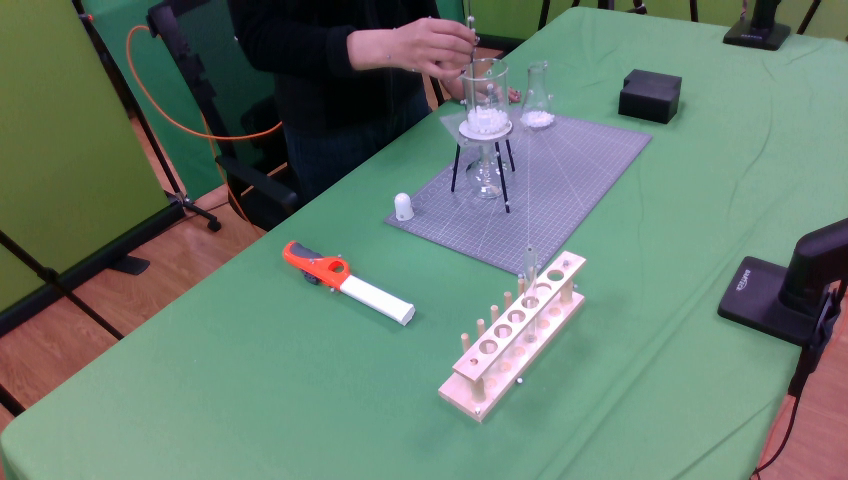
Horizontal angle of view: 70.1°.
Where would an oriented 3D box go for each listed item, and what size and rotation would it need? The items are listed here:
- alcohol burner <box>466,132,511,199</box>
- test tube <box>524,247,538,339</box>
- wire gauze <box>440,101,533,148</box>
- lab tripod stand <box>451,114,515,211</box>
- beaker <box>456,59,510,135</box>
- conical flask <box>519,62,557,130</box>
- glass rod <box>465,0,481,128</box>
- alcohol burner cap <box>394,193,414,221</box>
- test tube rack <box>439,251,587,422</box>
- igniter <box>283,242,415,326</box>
[{"bbox_3d":[0.110,-0.132,1.044,0.078,0.119,0.077,-6,38,5],"label":"alcohol burner"},{"bbox_3d":[0.133,0.070,0.749,0.017,0.151,0.017,-5,38,4],"label":"test tube"},{"bbox_3d":[0.100,-0.189,0.995,0.125,0.011,0.120,-16,38,-6],"label":"wire gauze"},{"bbox_3d":[0.113,-0.140,1.037,0.148,0.132,0.147,-6,38,5],"label":"lab tripod stand"},{"bbox_3d":[0.097,-0.226,0.964,0.084,0.101,0.073,-8,39,3],"label":"beaker"},{"bbox_3d":[0.225,-0.287,1.199,0.075,0.122,0.075,-6,40,5],"label":"conical flask"},{"bbox_3d":[0.076,-0.264,0.920,0.008,0.200,0.008,-6,33,5],"label":"glass rod"},{"bbox_3d":[-0.036,-0.059,1.040,0.034,0.048,0.033,-5,41,5],"label":"alcohol burner cap"},{"bbox_3d":[0.118,0.111,0.780,0.066,0.085,0.243,26,51,35],"label":"test tube rack"},{"bbox_3d":[-0.126,0.062,0.931,0.274,0.025,0.057,24,61,33],"label":"igniter"}]
